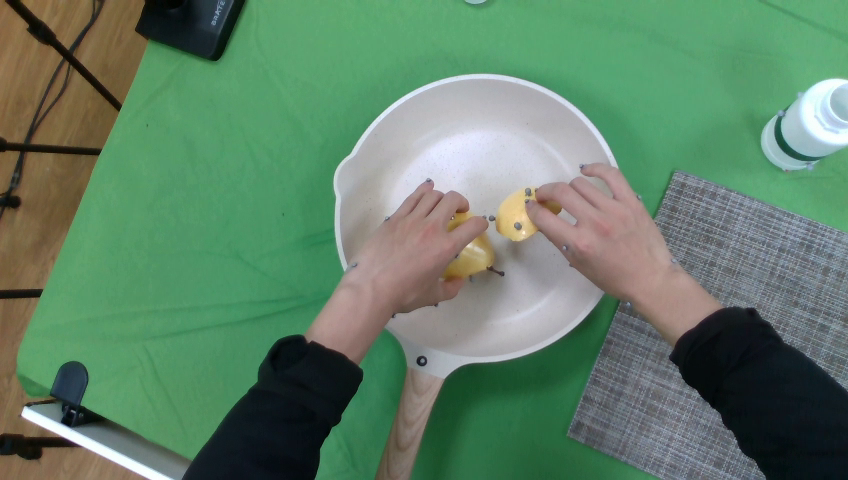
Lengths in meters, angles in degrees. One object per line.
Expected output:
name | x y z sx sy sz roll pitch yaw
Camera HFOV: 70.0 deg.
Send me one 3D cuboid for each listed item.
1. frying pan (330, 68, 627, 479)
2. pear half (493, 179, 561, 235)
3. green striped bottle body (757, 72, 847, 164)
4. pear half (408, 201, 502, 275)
frying pan | 0.018 0.069 0.612 0.306 0.103 0.486 18 79 10
pear half | 0.096 -0.039 0.597 0.070 0.087 0.031 -21 111 27
green striped bottle body | 0.370 -0.116 0.573 0.063 0.119 0.063 -1 83 8
pear half | 0.030 0.004 0.617 0.109 0.056 0.076 28 108 32
